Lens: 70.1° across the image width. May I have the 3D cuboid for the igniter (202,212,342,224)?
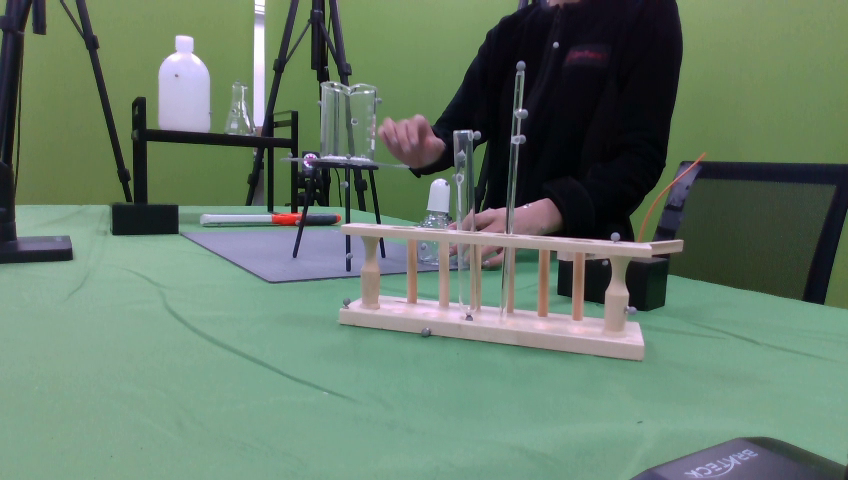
[{"bbox_3d":[-0.298,-0.044,1.216,0.278,0.025,0.057,-2,-2,-32],"label":"igniter"}]

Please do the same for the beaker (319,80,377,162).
[{"bbox_3d":[-0.098,-0.150,0.777,0.074,0.100,0.084,1,7,-7],"label":"beaker"}]

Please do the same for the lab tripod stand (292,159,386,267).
[{"bbox_3d":[-0.105,-0.039,0.797,0.148,0.131,0.148,2,5,0],"label":"lab tripod stand"}]

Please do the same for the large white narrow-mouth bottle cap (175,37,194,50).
[{"bbox_3d":[-0.501,-0.410,1.264,0.038,0.024,0.037,2,7,0],"label":"large white narrow-mouth bottle cap"}]

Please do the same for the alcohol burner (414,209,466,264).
[{"bbox_3d":[0.021,-0.028,0.825,0.078,0.119,0.078,0,6,0],"label":"alcohol burner"}]

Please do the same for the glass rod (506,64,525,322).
[{"bbox_3d":[0.069,-0.030,0.458,0.008,0.199,0.008,0,15,0],"label":"glass rod"}]

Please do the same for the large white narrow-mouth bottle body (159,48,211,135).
[{"bbox_3d":[-0.503,-0.323,1.275,0.102,0.194,0.102,2,7,0],"label":"large white narrow-mouth bottle body"}]

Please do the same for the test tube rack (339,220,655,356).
[{"bbox_3d":[0.056,0.032,0.495,0.242,0.085,0.067,4,7,15],"label":"test tube rack"}]

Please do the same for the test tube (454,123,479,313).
[{"bbox_3d":[0.034,-0.016,0.477,0.017,0.150,0.017,-2,9,1],"label":"test tube"}]

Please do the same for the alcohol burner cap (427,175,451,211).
[{"bbox_3d":[0.023,-0.064,0.822,0.034,0.048,0.034,8,5,0],"label":"alcohol burner cap"}]

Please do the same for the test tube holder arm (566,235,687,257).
[{"bbox_3d":[0.215,0.006,0.630,0.179,0.015,0.013,-3,9,-30],"label":"test tube holder arm"}]

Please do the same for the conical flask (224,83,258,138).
[{"bbox_3d":[-0.422,-0.299,1.395,0.075,0.122,0.075,2,7,0],"label":"conical flask"}]

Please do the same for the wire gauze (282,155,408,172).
[{"bbox_3d":[-0.104,-0.103,0.784,0.126,0.011,0.121,1,8,-39],"label":"wire gauze"}]

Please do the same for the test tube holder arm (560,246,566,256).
[{"bbox_3d":[0.173,0.007,0.611,0.088,0.015,0.010,-3,9,-30],"label":"test tube holder arm"}]
